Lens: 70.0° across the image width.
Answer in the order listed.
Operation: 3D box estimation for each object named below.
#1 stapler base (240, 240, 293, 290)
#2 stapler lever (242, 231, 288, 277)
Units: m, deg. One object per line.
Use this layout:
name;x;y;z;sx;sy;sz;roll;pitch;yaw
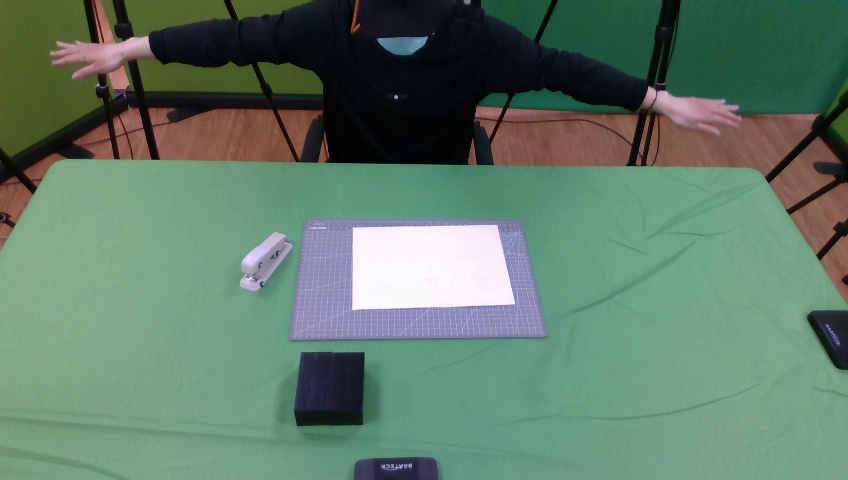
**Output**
stapler base;-0.296;0.038;1.135;0.041;0.024;0.130;20;47;11
stapler lever;-0.294;0.020;1.118;0.027;0.040;0.117;20;46;11
